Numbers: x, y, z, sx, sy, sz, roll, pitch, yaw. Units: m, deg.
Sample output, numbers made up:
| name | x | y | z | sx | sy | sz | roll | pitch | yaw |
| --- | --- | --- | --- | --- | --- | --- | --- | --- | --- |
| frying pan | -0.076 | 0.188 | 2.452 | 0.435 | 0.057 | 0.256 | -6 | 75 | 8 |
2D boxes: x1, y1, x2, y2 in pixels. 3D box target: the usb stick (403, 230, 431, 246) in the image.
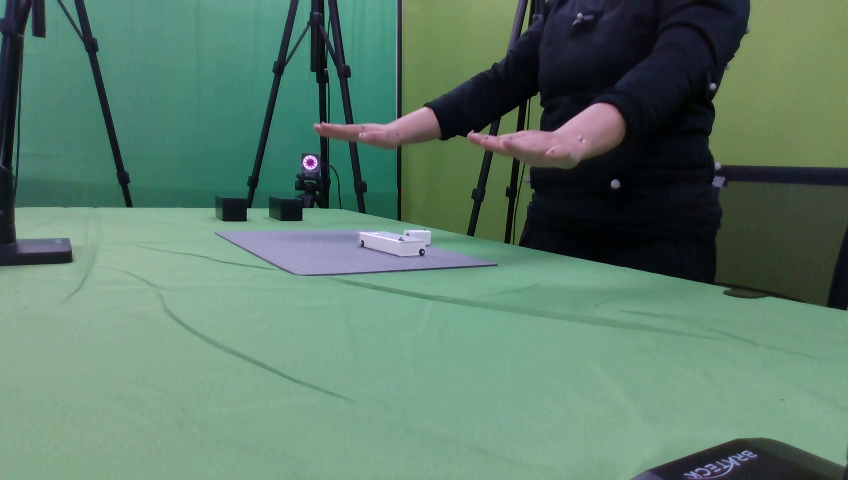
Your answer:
| name | x | y | z | sx | sy | sz | roll | pitch | yaw |
| --- | --- | --- | --- | --- | --- | --- | --- | --- | --- |
| usb stick | -0.018 | -0.003 | 1.020 | 0.059 | 0.027 | 0.021 | -6 | 15 | -34 |

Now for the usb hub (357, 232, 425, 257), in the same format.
| name | x | y | z | sx | sy | sz | roll | pitch | yaw |
| --- | --- | --- | --- | --- | --- | --- | --- | --- | --- |
| usb hub | -0.055 | 0.005 | 0.947 | 0.050 | 0.025 | 0.124 | -3 | 9 | -36 |
